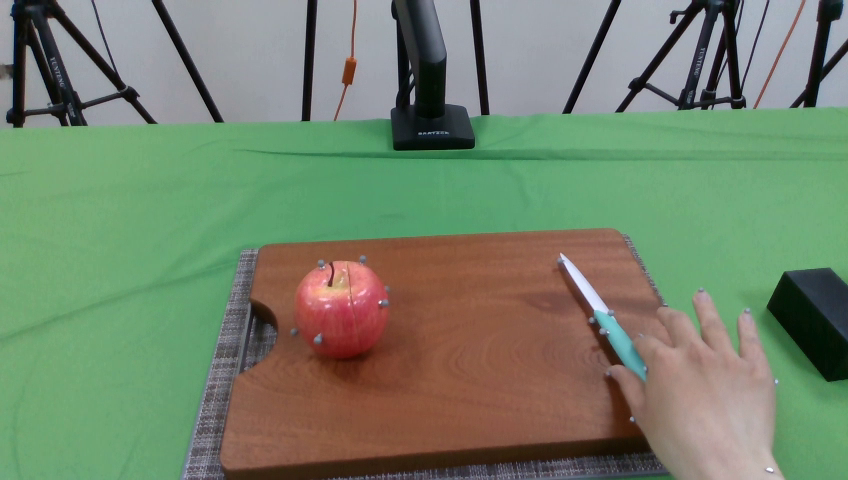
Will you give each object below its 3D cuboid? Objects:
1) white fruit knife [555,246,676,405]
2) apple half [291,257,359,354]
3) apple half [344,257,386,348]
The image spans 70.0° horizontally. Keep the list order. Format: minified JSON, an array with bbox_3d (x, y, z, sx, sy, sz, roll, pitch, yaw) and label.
[{"bbox_3d":[0.168,0.069,0.566,0.027,0.016,0.205,15,30,-28],"label":"white fruit knife"},{"bbox_3d":[-0.087,0.059,0.524,0.053,0.075,0.080,-10,44,-6],"label":"apple half"},{"bbox_3d":[-0.049,0.054,0.530,0.033,0.082,0.080,-10,40,-7],"label":"apple half"}]
